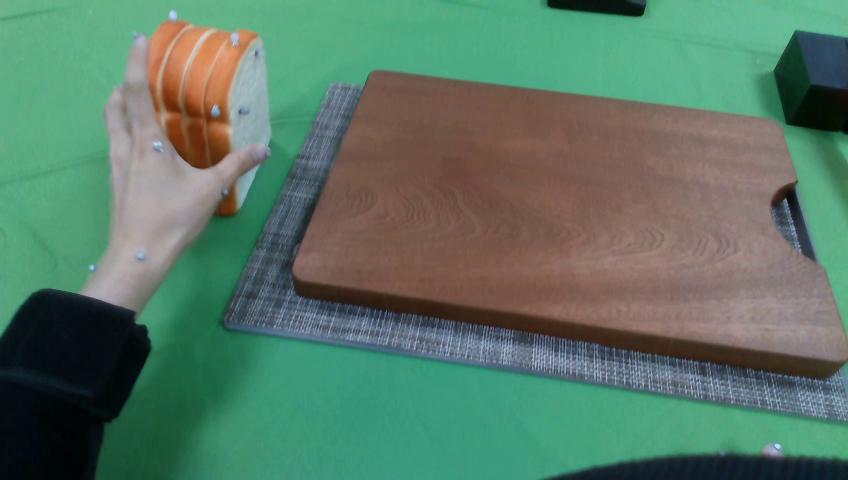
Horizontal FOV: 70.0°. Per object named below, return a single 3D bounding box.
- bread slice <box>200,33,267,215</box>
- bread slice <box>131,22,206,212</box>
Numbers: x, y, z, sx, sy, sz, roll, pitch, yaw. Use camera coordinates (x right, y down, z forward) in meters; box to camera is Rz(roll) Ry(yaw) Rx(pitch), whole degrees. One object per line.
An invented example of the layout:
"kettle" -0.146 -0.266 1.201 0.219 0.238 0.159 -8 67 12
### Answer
"bread slice" -0.153 -0.098 0.499 0.019 0.132 0.104 10 50 -2
"bread slice" -0.205 -0.107 0.500 0.018 0.135 0.106 7 44 -4
